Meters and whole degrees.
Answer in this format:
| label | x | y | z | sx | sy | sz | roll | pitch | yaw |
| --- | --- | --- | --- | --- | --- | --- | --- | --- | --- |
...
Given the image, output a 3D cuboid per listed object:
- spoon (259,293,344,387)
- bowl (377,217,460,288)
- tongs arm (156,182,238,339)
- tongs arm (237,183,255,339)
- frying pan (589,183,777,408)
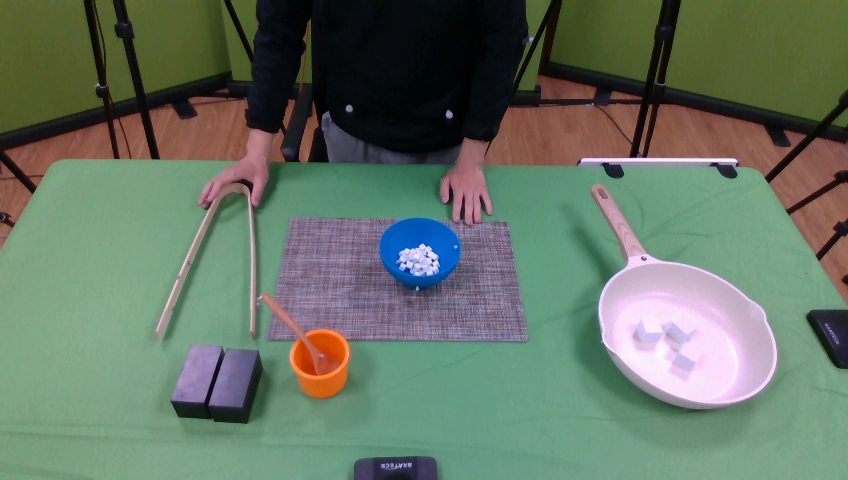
| label | x | y | z | sx | sy | sz | roll | pitch | yaw |
| --- | --- | --- | --- | --- | --- | --- | --- | --- | --- |
| spoon | -0.191 | 0.155 | 0.947 | 0.021 | 0.194 | 0.041 | -13 | 28 | 50 |
| bowl | -0.012 | 0.036 | 1.118 | 0.151 | 0.077 | 0.150 | 2 | 46 | -2 |
| tongs arm | -0.415 | 0.023 | 1.134 | 0.051 | 0.026 | 0.382 | 3 | 45 | -3 |
| tongs arm | -0.334 | 0.024 | 1.145 | 0.028 | 0.028 | 0.385 | -9 | 48 | -9 |
| frying pan | 0.412 | 0.079 | 1.096 | 0.307 | 0.103 | 0.484 | -8 | 56 | -13 |
